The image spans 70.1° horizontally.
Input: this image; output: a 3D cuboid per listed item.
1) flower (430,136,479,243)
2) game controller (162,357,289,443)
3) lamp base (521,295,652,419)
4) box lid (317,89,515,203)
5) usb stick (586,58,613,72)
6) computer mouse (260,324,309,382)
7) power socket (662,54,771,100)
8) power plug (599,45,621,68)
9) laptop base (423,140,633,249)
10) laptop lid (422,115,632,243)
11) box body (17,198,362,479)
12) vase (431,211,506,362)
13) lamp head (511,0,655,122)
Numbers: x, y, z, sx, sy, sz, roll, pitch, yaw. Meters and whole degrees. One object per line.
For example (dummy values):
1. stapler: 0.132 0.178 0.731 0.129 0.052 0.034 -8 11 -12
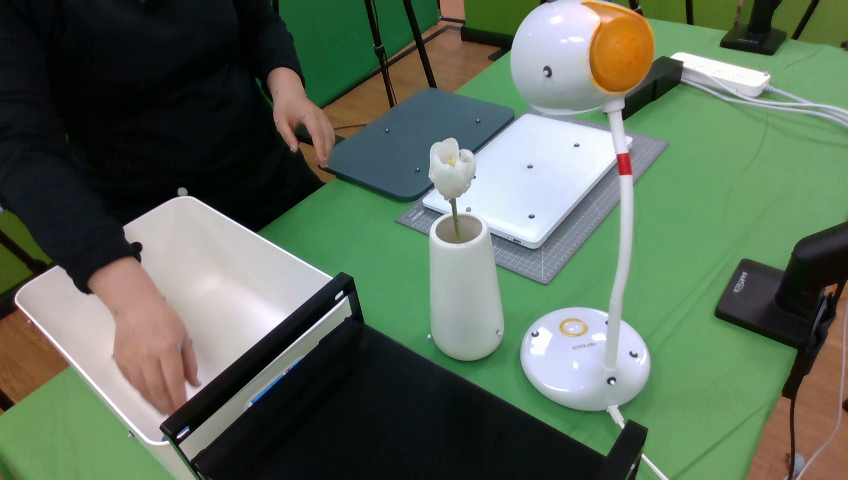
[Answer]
1. flower: 0.041 0.011 0.691 0.044 0.363 0.038 16 63 14
2. game controller: -0.235 0.207 0.735 0.096 0.052 0.155 31 55 27
3. lamp base: 0.201 0.095 0.710 0.161 0.181 0.177 -16 43 -10
4. box lid: -0.009 -0.207 1.236 0.261 0.015 0.372 23 49 32
5. usb stick: 0.401 -0.399 1.380 0.059 0.027 0.021 1 47 20
6. computer mouse: -0.157 0.155 0.793 0.116 0.041 0.063 29 50 24
7. power socket: 0.615 -0.348 1.284 0.072 0.033 0.225 -36 48 -29
8. power plug: 0.437 -0.422 1.412 0.053 0.035 0.072 -18 74 -47
9. laptop base: 0.194 -0.116 1.087 0.233 0.023 0.355 20 47 34
10. laptop lid: 0.190 -0.126 1.081 0.239 0.013 0.358 23 48 34
11. box body: -0.285 0.123 0.766 0.361 0.161 0.255 25 49 33
12. vase: 0.054 0.062 0.757 0.098 0.201 0.097 -3 40 3
13. lamp head: 0.155 -0.168 0.563 0.113 0.113 0.122 -18 23 -12
